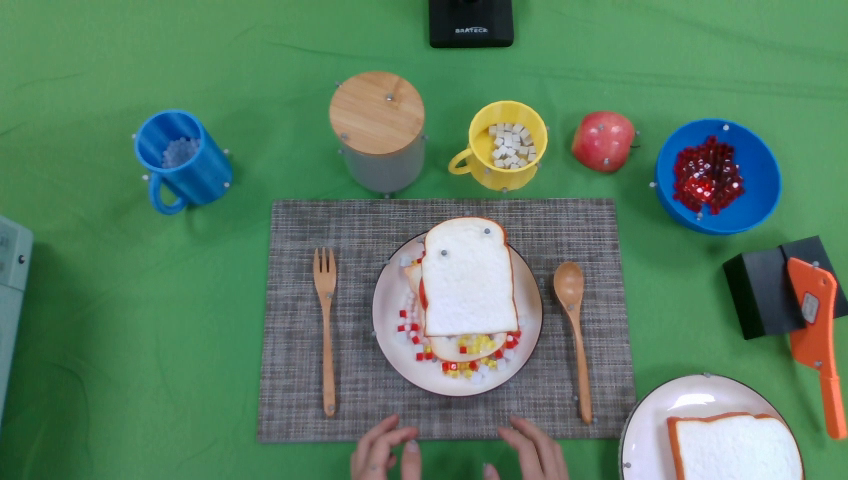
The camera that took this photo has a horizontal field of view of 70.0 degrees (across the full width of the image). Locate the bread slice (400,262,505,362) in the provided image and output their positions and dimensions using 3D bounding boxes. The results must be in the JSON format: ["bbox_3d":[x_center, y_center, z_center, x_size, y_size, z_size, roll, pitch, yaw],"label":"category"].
[{"bbox_3d":[0.042,0.080,0.738,0.107,0.018,0.133,-18,75,-4],"label":"bread slice"}]

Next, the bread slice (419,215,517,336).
[{"bbox_3d":[0.043,0.039,0.657,0.105,0.019,0.131,-5,87,5],"label":"bread slice"}]

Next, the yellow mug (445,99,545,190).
[{"bbox_3d":[0.088,-0.118,0.785,0.131,0.064,0.099,-22,75,-6],"label":"yellow mug"}]

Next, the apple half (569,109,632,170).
[{"bbox_3d":[0.236,-0.139,0.800,0.074,0.053,0.080,21,75,8],"label":"apple half"}]

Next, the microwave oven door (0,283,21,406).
[{"bbox_3d":[-0.507,0.195,0.579,0.039,0.245,0.353,-1,73,0],"label":"microwave oven door"}]

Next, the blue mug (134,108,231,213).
[{"bbox_3d":[-0.304,-0.088,0.752,0.082,0.106,0.116,19,75,6],"label":"blue mug"}]

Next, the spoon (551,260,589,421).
[{"bbox_3d":[0.182,0.119,0.735,0.042,0.021,0.192,2,72,-22],"label":"spoon"}]

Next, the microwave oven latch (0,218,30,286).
[{"bbox_3d":[-0.506,0.014,0.736,0.030,0.029,0.078,4,74,1],"label":"microwave oven latch"}]

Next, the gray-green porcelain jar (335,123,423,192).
[{"bbox_3d":[-0.054,-0.126,0.755,0.106,0.127,0.105,0,73,0],"label":"gray-green porcelain jar"}]

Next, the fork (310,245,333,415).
[{"bbox_3d":[-0.122,0.106,0.739,0.028,0.019,0.206,-2,72,-12],"label":"fork"}]

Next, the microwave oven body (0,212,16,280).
[{"bbox_3d":[-0.653,0.157,0.594,0.326,0.261,0.439,0,74,-1],"label":"microwave oven body"}]

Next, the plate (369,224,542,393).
[{"bbox_3d":[0.037,0.082,0.738,0.208,0.039,0.206,0,74,0],"label":"plate"}]

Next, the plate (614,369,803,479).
[{"bbox_3d":[0.319,0.254,0.693,0.209,0.038,0.208,0,74,0],"label":"plate"}]

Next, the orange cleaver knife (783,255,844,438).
[{"bbox_3d":[0.454,0.123,0.709,0.012,0.077,0.211,-11,96,-10],"label":"orange cleaver knife"}]

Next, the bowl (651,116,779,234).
[{"bbox_3d":[0.353,-0.071,0.767,0.151,0.077,0.150,0,74,0],"label":"bowl"}]

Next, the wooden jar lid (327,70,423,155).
[{"bbox_3d":[-0.055,-0.144,0.694,0.108,0.021,0.107,1,71,-2],"label":"wooden jar lid"}]

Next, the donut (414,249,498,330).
[{"bbox_3d":[0.038,0.059,0.715,0.099,0.048,0.098,0,74,-1],"label":"donut"}]
